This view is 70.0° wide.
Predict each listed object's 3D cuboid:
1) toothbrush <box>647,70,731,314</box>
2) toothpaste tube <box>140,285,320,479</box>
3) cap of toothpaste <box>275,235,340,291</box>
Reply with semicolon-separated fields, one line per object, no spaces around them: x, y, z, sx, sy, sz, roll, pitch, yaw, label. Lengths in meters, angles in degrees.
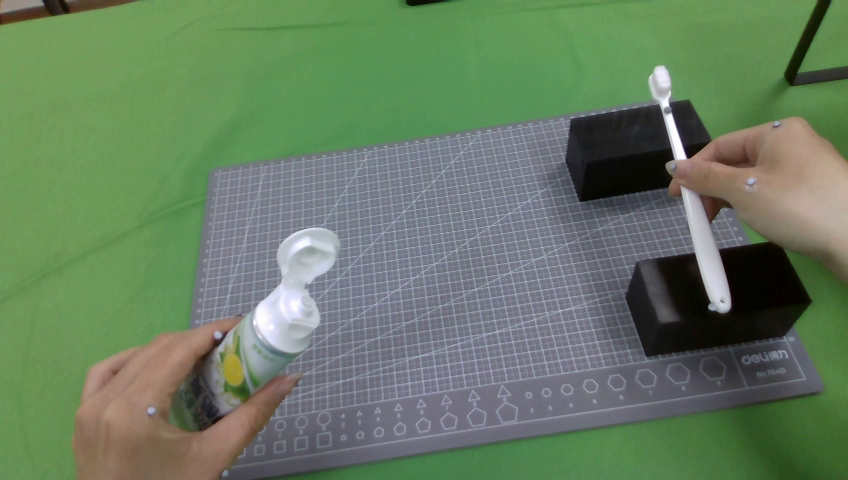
0.178;-0.039;0.409;0.014;0.017;0.180;-5;69;-1;toothbrush
-0.116;0.081;0.353;0.165;0.035;0.054;-43;71;25;toothpaste tube
-0.062;0.013;0.326;0.037;0.038;0.011;-23;49;-9;cap of toothpaste
